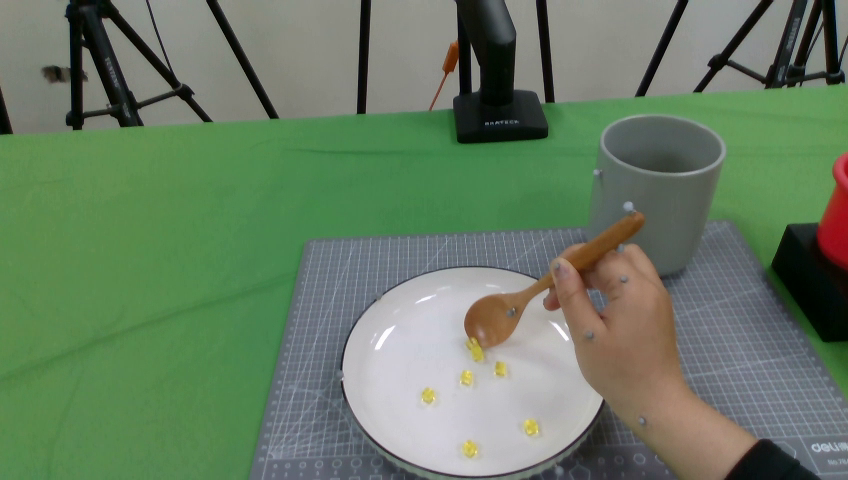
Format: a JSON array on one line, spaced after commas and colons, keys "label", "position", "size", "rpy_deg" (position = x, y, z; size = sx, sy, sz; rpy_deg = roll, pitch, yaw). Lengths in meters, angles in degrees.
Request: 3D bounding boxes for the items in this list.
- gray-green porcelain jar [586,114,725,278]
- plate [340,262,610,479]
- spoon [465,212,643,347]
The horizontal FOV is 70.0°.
[{"label": "gray-green porcelain jar", "position": [0.208, -0.037, 0.564], "size": [0.106, 0.127, 0.105], "rpy_deg": [-2, 40, 2]}, {"label": "plate", "position": [0.039, 0.100, 0.483], "size": [0.207, 0.039, 0.205], "rpy_deg": [-2, 40, 2]}, {"label": "spoon", "position": [0.087, 0.034, 0.442], "size": [0.022, 0.194, 0.041], "rpy_deg": [-20, 74, -36]}]
